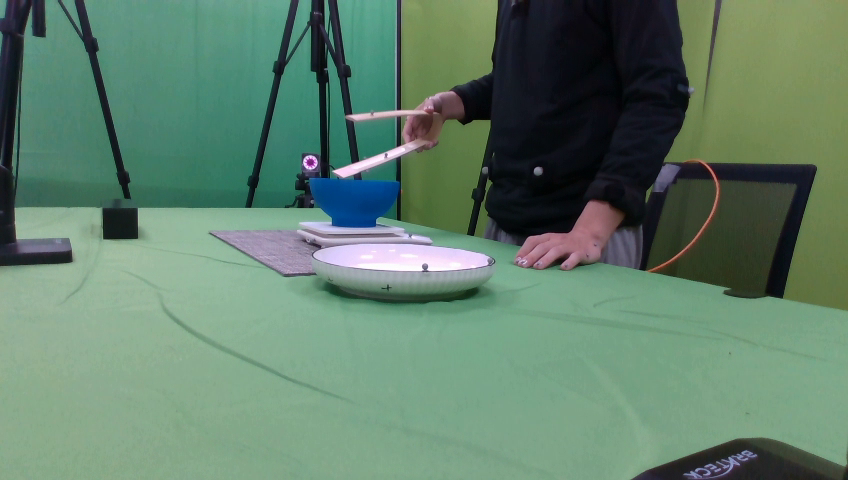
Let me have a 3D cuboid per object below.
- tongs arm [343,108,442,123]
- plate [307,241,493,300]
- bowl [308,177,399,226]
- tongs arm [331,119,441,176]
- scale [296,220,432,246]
[{"bbox_3d":[-0.046,-0.236,1.153,0.027,0.028,0.389,19,18,19],"label":"tongs arm"},{"bbox_3d":[-0.027,0.034,0.684,0.208,0.039,0.207,2,7,0],"label":"plate"},{"bbox_3d":[-0.117,-0.064,1.001,0.151,0.077,0.151,2,6,0],"label":"bowl"},{"bbox_3d":[-0.060,-0.186,1.176,0.026,0.050,0.386,22,25,18],"label":"tongs arm"},{"bbox_3d":[-0.101,-0.012,1.017,0.202,0.031,0.148,-1,8,-30],"label":"scale"}]
